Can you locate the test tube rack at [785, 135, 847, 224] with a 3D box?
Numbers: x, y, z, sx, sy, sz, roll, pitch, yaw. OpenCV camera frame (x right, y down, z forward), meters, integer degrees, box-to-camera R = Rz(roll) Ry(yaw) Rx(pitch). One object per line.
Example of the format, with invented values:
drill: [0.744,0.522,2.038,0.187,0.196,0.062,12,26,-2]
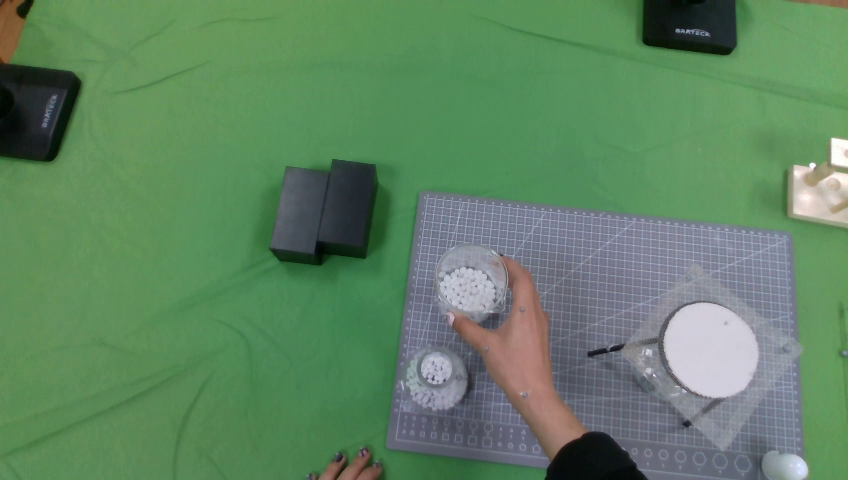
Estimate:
test tube rack: [0.564,-0.054,0.701,0.242,0.085,0.066,10,73,2]

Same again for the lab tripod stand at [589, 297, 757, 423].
lab tripod stand: [0.257,0.116,0.617,0.148,0.132,0.147,0,74,1]

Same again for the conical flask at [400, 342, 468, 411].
conical flask: [0.011,0.133,0.613,0.075,0.122,0.075,0,73,-1]

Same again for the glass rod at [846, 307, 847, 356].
glass rod: [0.475,0.172,0.672,0.008,0.008,0.198,8,76,1]

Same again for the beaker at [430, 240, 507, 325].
beaker: [0.048,0.051,0.648,0.083,0.101,0.074,44,78,11]

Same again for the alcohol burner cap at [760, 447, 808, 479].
alcohol burner cap: [0.378,0.233,0.631,0.034,0.048,0.033,0,72,-1]

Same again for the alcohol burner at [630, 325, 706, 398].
alcohol burner: [0.258,0.123,0.625,0.078,0.120,0.077,0,74,2]

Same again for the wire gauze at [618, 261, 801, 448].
wire gauze: [0.259,0.099,0.552,0.124,0.011,0.121,43,78,11]
